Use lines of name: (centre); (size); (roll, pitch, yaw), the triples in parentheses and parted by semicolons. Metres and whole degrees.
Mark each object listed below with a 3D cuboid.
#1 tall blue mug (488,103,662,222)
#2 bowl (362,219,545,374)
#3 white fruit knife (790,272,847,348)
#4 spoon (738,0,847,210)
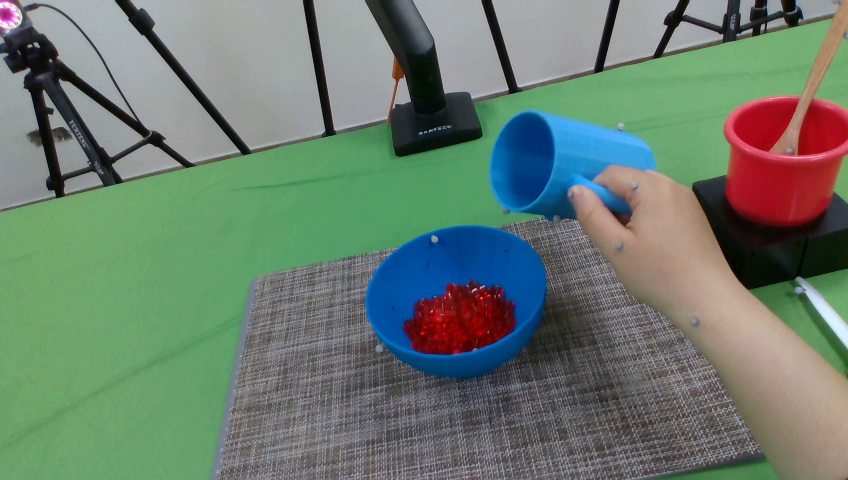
tall blue mug: (0.124, -0.057, 0.462); (0.109, 0.077, 0.106); (7, -4, -33)
bowl: (0.030, 0.061, 0.516); (0.151, 0.077, 0.150); (-9, 41, 8)
white fruit knife: (0.329, 0.092, 0.445); (0.027, 0.016, 0.205); (9, 36, -14)
spoon: (0.317, -0.115, 0.507); (0.041, 0.022, 0.194); (26, 99, 39)
